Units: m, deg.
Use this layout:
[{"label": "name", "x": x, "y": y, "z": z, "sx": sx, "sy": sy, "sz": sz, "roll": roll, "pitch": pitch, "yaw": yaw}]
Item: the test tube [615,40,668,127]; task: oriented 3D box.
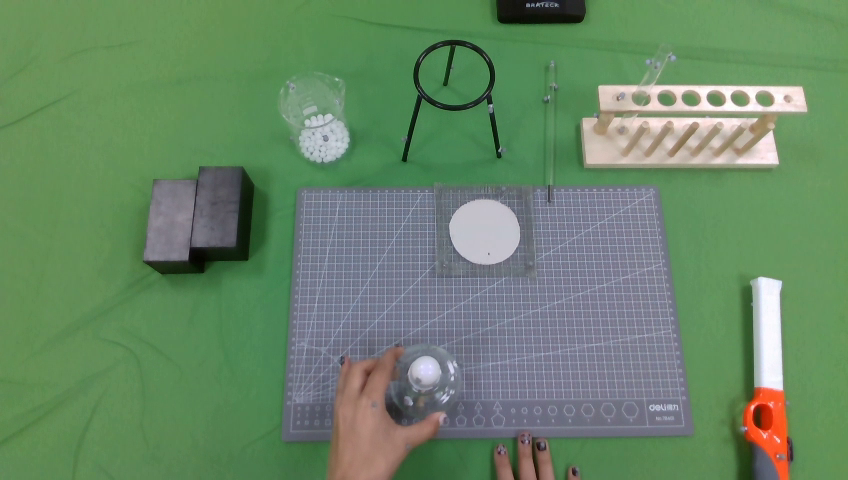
[{"label": "test tube", "x": 0.248, "y": -0.176, "z": 0.699, "sx": 0.017, "sy": 0.151, "sz": 0.017, "roll": 0, "pitch": 68, "yaw": 1}]

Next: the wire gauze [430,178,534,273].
[{"label": "wire gauze", "x": 0.069, "y": -0.019, "z": 0.735, "sx": 0.125, "sy": 0.011, "sz": 0.120, "roll": 1, "pitch": 71, "yaw": 0}]

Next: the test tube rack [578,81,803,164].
[{"label": "test tube rack", "x": 0.321, "y": -0.142, "z": 0.741, "sx": 0.242, "sy": 0.085, "sz": 0.066, "roll": 0, "pitch": 71, "yaw": -1}]

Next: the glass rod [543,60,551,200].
[{"label": "glass rod", "x": 0.159, "y": -0.144, "z": 0.778, "sx": 0.008, "sy": 0.008, "sz": 0.198, "roll": 5, "pitch": 73, "yaw": 0}]

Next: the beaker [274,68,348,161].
[{"label": "beaker", "x": -0.129, "y": -0.147, "z": 0.728, "sx": 0.084, "sy": 0.101, "sz": 0.073, "roll": -38, "pitch": 76, "yaw": -13}]

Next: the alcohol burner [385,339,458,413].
[{"label": "alcohol burner", "x": -0.002, "y": 0.137, "z": 0.626, "sx": 0.078, "sy": 0.120, "sz": 0.077, "roll": 1, "pitch": 68, "yaw": -2}]

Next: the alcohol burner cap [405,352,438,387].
[{"label": "alcohol burner cap", "x": -0.001, "y": 0.125, "z": 0.592, "sx": 0.034, "sy": 0.048, "sz": 0.033, "roll": 1, "pitch": 73, "yaw": -2}]

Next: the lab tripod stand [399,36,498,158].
[{"label": "lab tripod stand", "x": 0.028, "y": -0.167, "z": 0.719, "sx": 0.148, "sy": 0.132, "sz": 0.147, "roll": 0, "pitch": 71, "yaw": 1}]

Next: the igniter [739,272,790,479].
[{"label": "igniter", "x": 0.376, "y": 0.170, "z": 0.671, "sx": 0.057, "sy": 0.025, "sz": 0.275, "roll": 12, "pitch": 72, "yaw": -8}]
